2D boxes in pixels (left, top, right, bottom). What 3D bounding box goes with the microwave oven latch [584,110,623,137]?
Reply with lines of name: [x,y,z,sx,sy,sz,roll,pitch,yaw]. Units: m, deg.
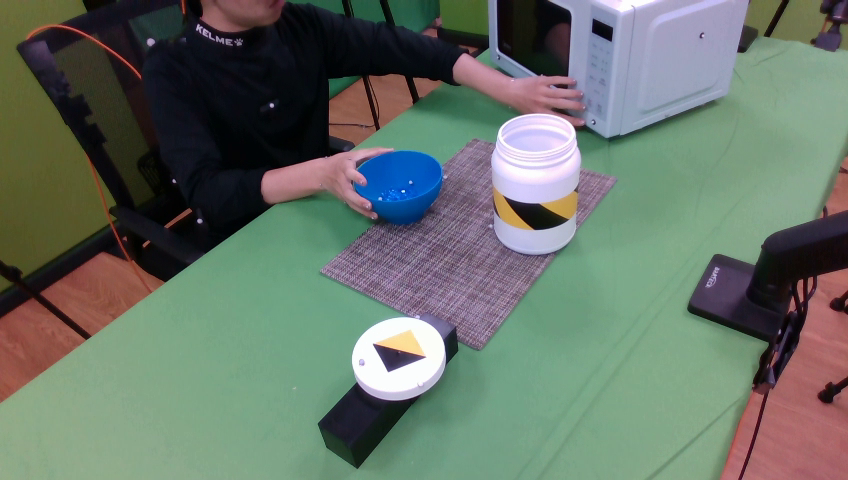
microwave oven latch: [0.337,-0.222,1.142,0.030,0.029,0.078,-21,42,-14]

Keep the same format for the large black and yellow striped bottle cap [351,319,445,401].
large black and yellow striped bottle cap: [-0.031,0.143,0.735,0.115,0.019,0.114,-3,40,3]

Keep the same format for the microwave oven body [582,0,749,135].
microwave oven body: [0.382,-0.444,1.246,0.327,0.261,0.437,-22,42,-16]

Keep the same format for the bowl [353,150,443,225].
bowl: [-0.040,-0.079,1.019,0.151,0.077,0.150,-4,40,4]

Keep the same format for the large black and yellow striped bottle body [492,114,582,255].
large black and yellow striped bottle body: [0.169,-0.083,0.912,0.131,0.185,0.130,-4,41,4]

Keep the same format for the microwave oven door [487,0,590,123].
microwave oven door: [0.231,-0.420,1.230,0.039,0.245,0.352,-22,43,-16]
